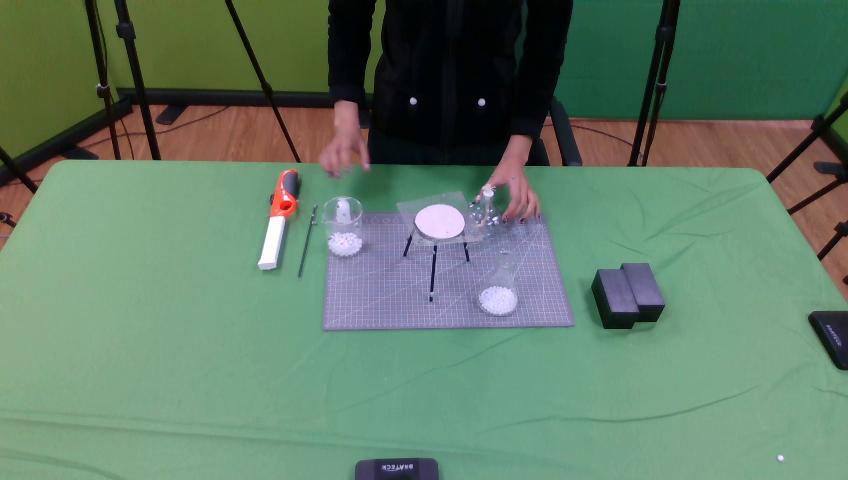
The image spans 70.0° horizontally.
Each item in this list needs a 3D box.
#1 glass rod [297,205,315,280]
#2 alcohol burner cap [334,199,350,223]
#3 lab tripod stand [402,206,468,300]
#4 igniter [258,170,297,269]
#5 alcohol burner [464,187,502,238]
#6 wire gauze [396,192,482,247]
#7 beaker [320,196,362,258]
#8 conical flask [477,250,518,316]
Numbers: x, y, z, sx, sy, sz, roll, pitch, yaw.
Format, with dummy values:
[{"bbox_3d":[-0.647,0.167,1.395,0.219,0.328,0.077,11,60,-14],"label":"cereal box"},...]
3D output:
[{"bbox_3d":[-0.232,0.000,1.191,0.008,0.008,0.198,2,46,-1],"label":"glass rod"},{"bbox_3d":[-0.168,-0.061,1.227,0.034,0.048,0.033,2,46,-2],"label":"alcohol burner cap"},{"bbox_3d":[0.023,0.013,1.108,0.148,0.132,0.147,3,44,-2],"label":"lab tripod stand"},{"bbox_3d":[-0.293,-0.049,1.221,0.057,0.025,0.275,-5,45,4],"label":"igniter"},{"bbox_3d":[0.120,-0.061,1.201,0.078,0.119,0.077,3,47,-3],"label":"alcohol burner"},{"bbox_3d":[0.025,-0.036,1.061,0.125,0.011,0.120,-9,47,-14],"label":"wire gauze"},{"bbox_3d":[-0.156,-0.021,1.150,0.084,0.101,0.073,-30,55,-28],"label":"beaker"},{"bbox_3d":[0.136,0.072,1.067,0.075,0.122,0.075,2,46,-2],"label":"conical flask"}]
